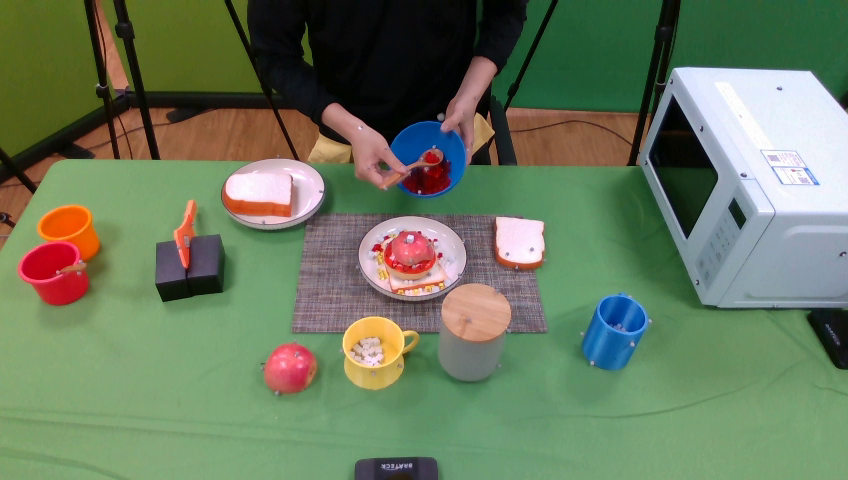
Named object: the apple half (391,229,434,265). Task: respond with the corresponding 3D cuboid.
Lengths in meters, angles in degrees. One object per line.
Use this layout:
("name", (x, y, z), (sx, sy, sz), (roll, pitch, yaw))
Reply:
("apple half", (-0.021, 0.005, 1.083), (0.081, 0.033, 0.081), (7, 49, -7))

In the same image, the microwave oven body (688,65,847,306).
("microwave oven body", (0.669, -0.111, 1.176), (0.326, 0.261, 0.439), (0, 46, -3))

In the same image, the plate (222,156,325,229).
("plate", (-0.308, -0.095, 1.251), (0.209, 0.038, 0.208), (3, 47, -3))

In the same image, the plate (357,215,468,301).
("plate", (-0.022, 0.037, 1.141), (0.208, 0.039, 0.206), (2, 46, -2))

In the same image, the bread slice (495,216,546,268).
("bread slice", (0.194, 0.002, 1.205), (0.105, 0.019, 0.131), (5, 45, 2))

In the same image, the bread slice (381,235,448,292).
("bread slice", (-0.027, 0.040, 1.141), (0.107, 0.018, 0.133), (-12, 49, -15))

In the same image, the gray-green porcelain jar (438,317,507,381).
("gray-green porcelain jar", (0.076, 0.158, 0.977), (0.106, 0.127, 0.105), (2, 47, -2))

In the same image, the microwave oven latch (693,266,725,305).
("microwave oven latch", (0.523, 0.082, 1.115), (0.030, 0.029, 0.078), (3, 46, 0))

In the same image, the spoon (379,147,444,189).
("spoon", (-0.024, -0.133, 1.101), (0.041, 0.022, 0.193), (29, 36, 21))

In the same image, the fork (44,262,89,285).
("fork", (-0.598, 0.054, 1.014), (0.207, 0.019, 0.028), (-15, 29, 45))

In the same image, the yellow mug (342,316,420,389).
("yellow mug", (-0.067, 0.177, 0.991), (0.131, 0.064, 0.099), (-16, 50, -19))

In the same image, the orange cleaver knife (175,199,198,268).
("orange cleaver knife", (-0.438, -0.017, 1.138), (0.012, 0.077, 0.210), (-14, 27, -6))

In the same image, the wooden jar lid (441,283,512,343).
("wooden jar lid", (0.080, 0.114, 0.931), (0.108, 0.021, 0.107), (1, 49, 0))

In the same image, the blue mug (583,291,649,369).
("blue mug", (0.324, 0.142, 1.023), (0.082, 0.106, 0.116), (15, 47, 11))

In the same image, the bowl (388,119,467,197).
("bowl", (0.012, -0.145, 1.154), (0.151, 0.077, 0.151), (-2, 77, 10))

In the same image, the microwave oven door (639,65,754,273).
("microwave oven door", (0.522, -0.147, 1.193), (0.039, 0.245, 0.353), (0, 47, -3))

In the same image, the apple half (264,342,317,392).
("apple half", (-0.214, 0.198, 0.970), (0.074, 0.053, 0.080), (19, 48, 10))

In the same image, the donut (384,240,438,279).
("donut", (-0.025, 0.029, 1.110), (0.099, 0.048, 0.098), (3, 46, -2))
